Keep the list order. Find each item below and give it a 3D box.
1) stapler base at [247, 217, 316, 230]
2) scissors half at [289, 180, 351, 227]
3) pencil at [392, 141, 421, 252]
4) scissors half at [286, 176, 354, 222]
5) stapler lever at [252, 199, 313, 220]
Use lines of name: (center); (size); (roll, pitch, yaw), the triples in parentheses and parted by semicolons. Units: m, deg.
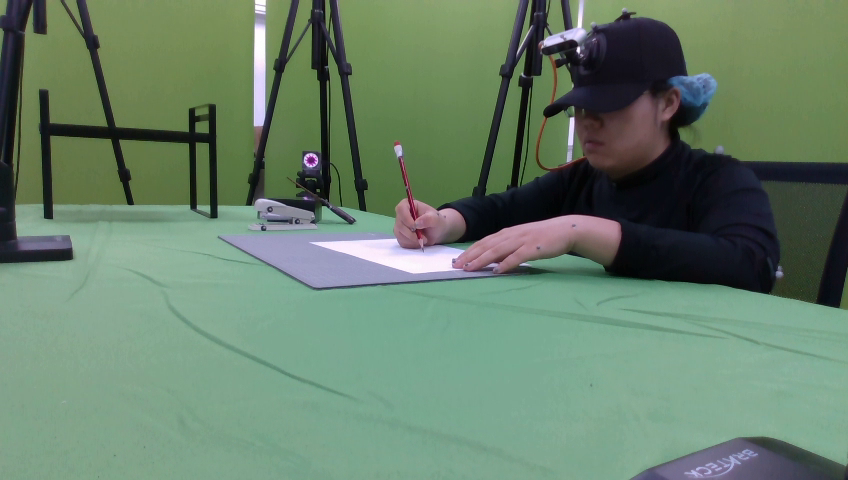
stapler base: (-0.276, -0.033, 1.172); (0.131, 0.024, 0.041); (0, 10, -37)
scissors half: (-0.232, -0.085, 1.318); (0.175, 0.013, 0.040); (38, 21, 4)
pencil: (-0.027, -0.071, 0.959); (0.012, 0.193, 0.012); (-12, -18, -4)
scissors half: (-0.229, -0.091, 1.337); (0.175, 0.013, 0.040); (33, 16, -13)
stapler lever: (-0.273, -0.058, 1.170); (0.119, 0.040, 0.026); (0, 10, -37)
